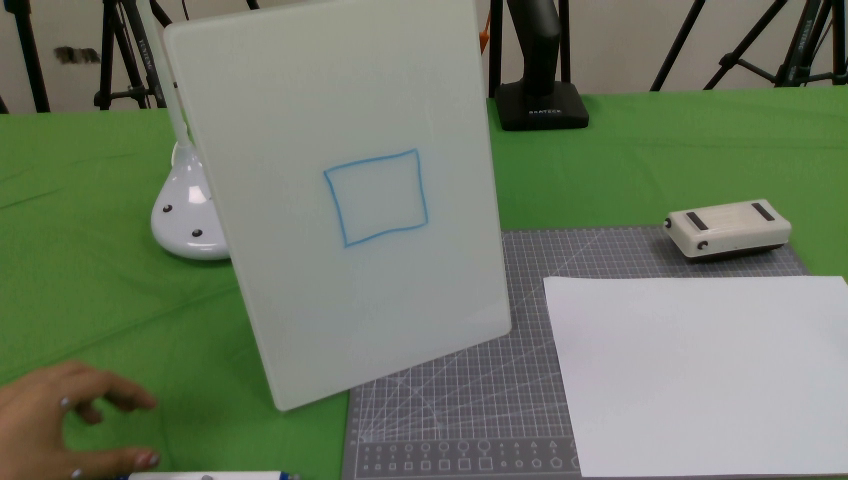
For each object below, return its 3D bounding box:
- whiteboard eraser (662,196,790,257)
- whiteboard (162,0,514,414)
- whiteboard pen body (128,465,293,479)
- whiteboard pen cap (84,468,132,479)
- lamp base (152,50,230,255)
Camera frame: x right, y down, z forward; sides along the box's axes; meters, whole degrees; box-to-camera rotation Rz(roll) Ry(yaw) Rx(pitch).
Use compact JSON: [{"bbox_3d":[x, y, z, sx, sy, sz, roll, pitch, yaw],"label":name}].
[{"bbox_3d":[0.311,-0.012,0.627,0.113,0.042,0.055,-8,42,-7],"label":"whiteboard eraser"},{"bbox_3d":[-0.063,-0.047,0.525,0.217,0.307,0.142,-16,23,-15],"label":"whiteboard"},{"bbox_3d":[-0.166,0.173,0.440,0.141,0.017,0.017,0,40,-1],"label":"whiteboard pen body"},{"bbox_3d":[-0.226,0.174,0.439,0.033,0.018,0.018,-1,40,-3],"label":"whiteboard pen cap"},{"bbox_3d":[-0.237,-0.101,0.647,0.177,0.182,0.160,26,48,32],"label":"lamp base"}]
